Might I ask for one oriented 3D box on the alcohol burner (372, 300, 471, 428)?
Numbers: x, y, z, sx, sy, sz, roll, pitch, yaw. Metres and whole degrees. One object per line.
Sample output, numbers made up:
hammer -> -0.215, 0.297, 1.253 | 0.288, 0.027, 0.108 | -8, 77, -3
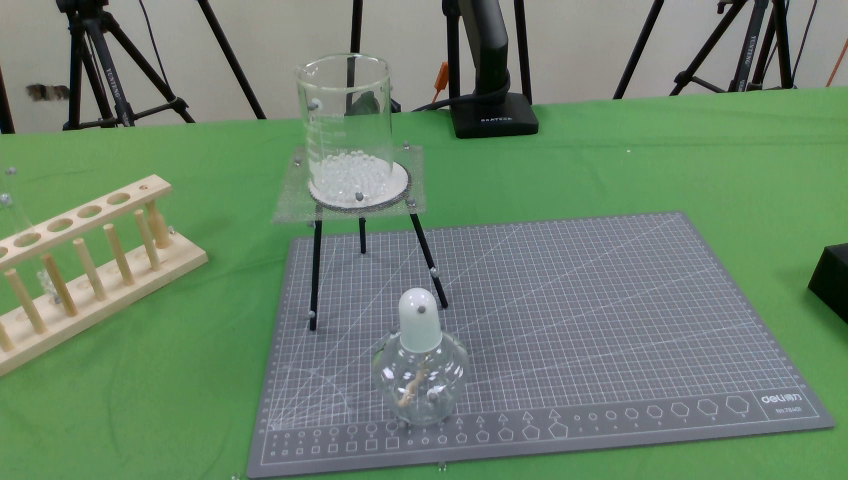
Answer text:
alcohol burner -> -0.002, 0.087, 0.461 | 0.078, 0.120, 0.077 | -1, 38, 1

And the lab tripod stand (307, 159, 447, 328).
lab tripod stand -> -0.049, 0.002, 0.561 | 0.148, 0.132, 0.147 | 0, 36, 0

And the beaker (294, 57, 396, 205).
beaker -> -0.063, -0.087, 0.488 | 0.083, 0.101, 0.074 | 24, 42, 29

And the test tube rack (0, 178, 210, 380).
test tube rack -> -0.337, 0.035, 0.576 | 0.066, 0.086, 0.242 | 27, 45, 33

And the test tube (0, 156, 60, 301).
test tube -> -0.361, -0.006, 0.549 | 0.017, 0.151, 0.017 | -3, 32, 2

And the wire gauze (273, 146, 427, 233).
wire gauze -> -0.059, -0.049, 0.519 | 0.121, 0.011, 0.124 | -2, 39, -1

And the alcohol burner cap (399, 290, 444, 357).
alcohol burner cap -> -0.002, 0.058, 0.440 | 0.034, 0.048, 0.033 | -4, 37, 3
